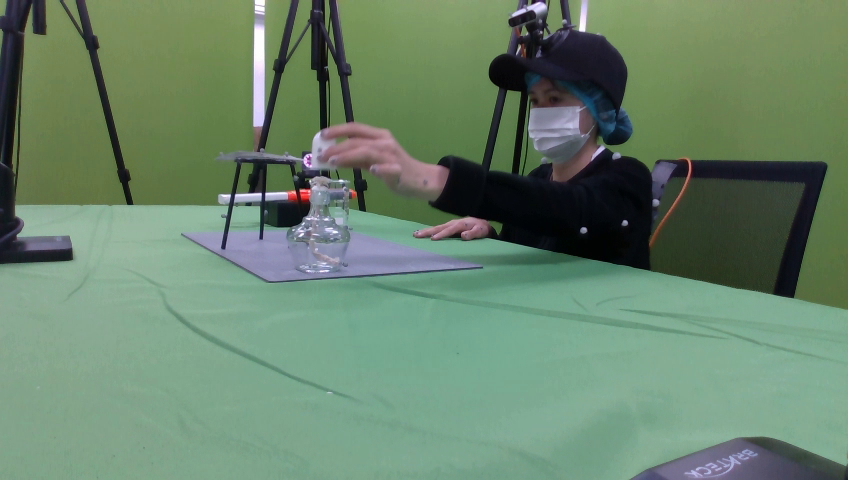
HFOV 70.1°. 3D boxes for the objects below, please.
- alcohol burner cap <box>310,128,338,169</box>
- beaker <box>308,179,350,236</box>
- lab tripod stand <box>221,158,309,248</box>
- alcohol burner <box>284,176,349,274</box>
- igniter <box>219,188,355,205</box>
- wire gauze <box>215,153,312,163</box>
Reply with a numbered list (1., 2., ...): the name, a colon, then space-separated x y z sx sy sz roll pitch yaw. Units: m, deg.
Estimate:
1. alcohol burner cap: -0.119 -0.110 0.722 0.034 0.048 0.034 3 7 0
2. beaker: -0.176 -0.060 1.104 0.073 0.100 0.084 8 10 39
3. lab tripod stand: -0.244 -0.057 0.917 0.148 0.131 0.148 1 7 0
4. alcohol burner: -0.130 -0.019 0.738 0.078 0.119 0.078 4 5 0
5. igniter: -0.274 -0.089 1.237 0.278 0.025 0.057 -6 11 -30
6. wire gauze: -0.235 -0.123 0.906 0.126 0.011 0.121 -2 7 -33
